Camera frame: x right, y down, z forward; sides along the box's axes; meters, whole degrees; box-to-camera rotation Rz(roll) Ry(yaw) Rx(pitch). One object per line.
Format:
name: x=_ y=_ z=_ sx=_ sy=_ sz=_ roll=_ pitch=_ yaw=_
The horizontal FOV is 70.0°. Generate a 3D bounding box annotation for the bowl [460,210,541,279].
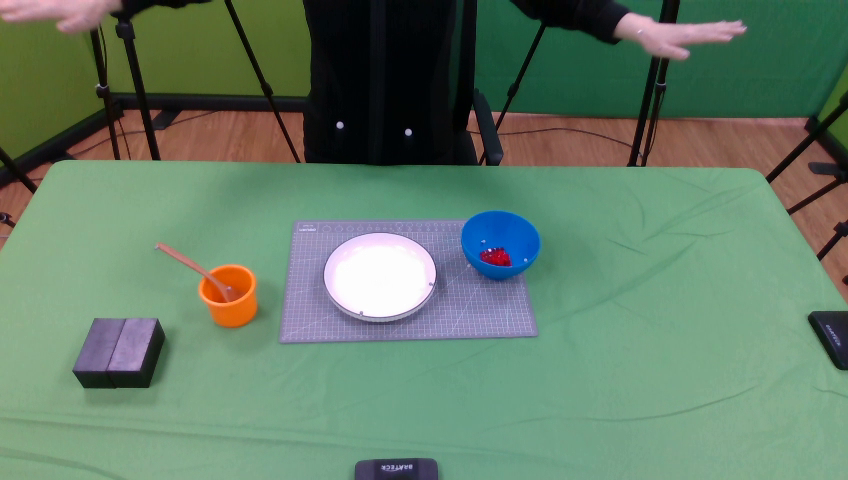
bowl: x=0.140 y=0.021 z=1.145 sx=0.151 sy=0.077 sz=0.150 roll=2 pitch=46 yaw=-2

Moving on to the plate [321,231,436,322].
plate: x=-0.083 y=0.070 z=1.109 sx=0.209 sy=0.038 sz=0.208 roll=3 pitch=46 yaw=-3

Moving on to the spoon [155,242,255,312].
spoon: x=-0.366 y=0.061 z=1.021 sx=0.021 sy=0.195 sz=0.041 roll=-27 pitch=32 yaw=32
